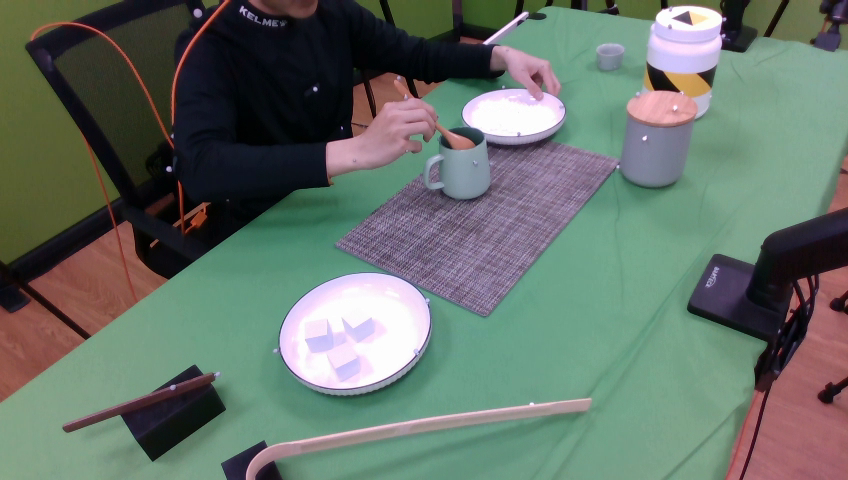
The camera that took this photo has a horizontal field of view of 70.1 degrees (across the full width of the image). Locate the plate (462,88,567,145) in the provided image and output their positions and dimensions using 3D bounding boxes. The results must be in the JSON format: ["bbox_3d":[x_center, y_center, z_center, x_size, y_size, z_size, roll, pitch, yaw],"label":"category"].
[{"bbox_3d":[0.180,-0.244,1.211,0.209,0.038,0.208,-3,39,3],"label":"plate"}]

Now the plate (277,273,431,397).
[{"bbox_3d":[-0.091,0.129,0.821,0.207,0.039,0.206,-4,40,4],"label":"plate"}]

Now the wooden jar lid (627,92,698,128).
[{"bbox_3d":[0.384,-0.207,0.980,0.108,0.021,0.108,-6,39,5],"label":"wooden jar lid"}]

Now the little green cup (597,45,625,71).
[{"bbox_3d":[0.423,-0.413,1.375,0.061,0.039,0.061,-3,41,3],"label":"little green cup"}]

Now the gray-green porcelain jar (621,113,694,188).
[{"bbox_3d":[0.390,-0.161,1.020,0.106,0.127,0.105,-4,41,4],"label":"gray-green porcelain jar"}]

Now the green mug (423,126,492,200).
[{"bbox_3d":[0.055,-0.125,1.040,0.126,0.105,0.091,-25,44,-18],"label":"green mug"}]

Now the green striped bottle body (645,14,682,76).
[{"bbox_3d":[0.520,-0.424,1.312,0.063,0.120,0.063,-4,41,4],"label":"green striped bottle body"}]

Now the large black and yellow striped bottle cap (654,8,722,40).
[{"bbox_3d":[0.483,-0.397,1.108,0.115,0.019,0.114,-3,41,3],"label":"large black and yellow striped bottle cap"}]

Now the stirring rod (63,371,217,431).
[{"bbox_3d":[-0.337,0.192,0.723,0.177,0.014,0.005,-18,43,-12],"label":"stirring rod"}]

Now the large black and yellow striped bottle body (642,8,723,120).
[{"bbox_3d":[0.493,-0.334,1.161,0.131,0.185,0.130,-4,41,4],"label":"large black and yellow striped bottle body"}]

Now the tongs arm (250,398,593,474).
[{"bbox_3d":[0.008,0.212,0.675,0.389,0.028,0.028,-5,46,-11],"label":"tongs arm"}]

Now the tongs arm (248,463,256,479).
[{"bbox_3d":[0.012,0.262,0.615,0.385,0.026,0.050,2,42,-2],"label":"tongs arm"}]

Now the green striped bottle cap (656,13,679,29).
[{"bbox_3d":[0.515,-0.463,1.278,0.044,0.020,0.044,-6,42,6],"label":"green striped bottle cap"}]

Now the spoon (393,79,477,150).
[{"bbox_3d":[0.020,-0.189,0.981,0.041,0.195,0.021,-55,20,-11],"label":"spoon"}]
